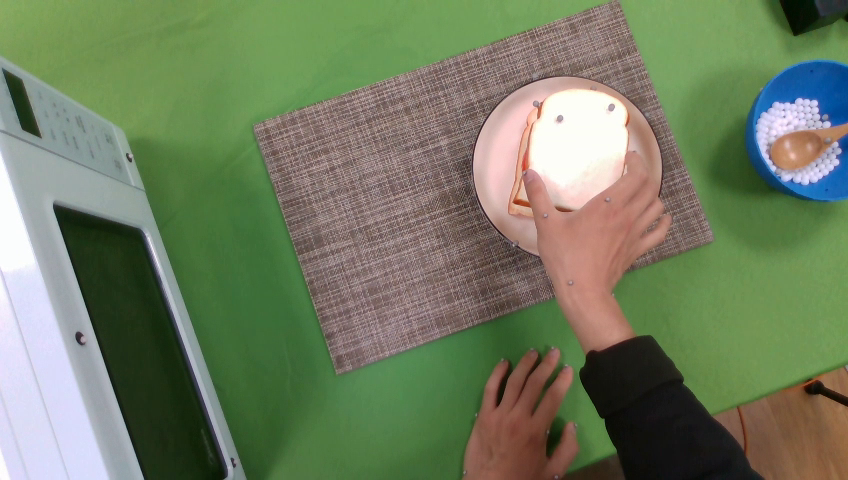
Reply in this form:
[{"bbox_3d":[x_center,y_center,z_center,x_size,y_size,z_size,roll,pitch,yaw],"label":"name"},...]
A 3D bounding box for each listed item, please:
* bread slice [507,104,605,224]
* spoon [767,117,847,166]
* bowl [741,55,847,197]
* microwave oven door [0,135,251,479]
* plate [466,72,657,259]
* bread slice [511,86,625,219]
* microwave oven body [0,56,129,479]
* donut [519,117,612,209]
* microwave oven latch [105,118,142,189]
[{"bbox_3d":[0.150,-0.088,0.674,0.107,0.018,0.134,5,85,0],"label":"bread slice"},{"bbox_3d":[0.458,-0.129,0.631,0.193,0.022,0.041,-25,79,19],"label":"spoon"},{"bbox_3d":[0.410,-0.114,0.661,0.151,0.077,0.151,0,84,0],"label":"bowl"},{"bbox_3d":[-0.259,0.102,0.539,0.039,0.244,0.355,-22,85,-2],"label":"microwave oven door"},{"bbox_3d":[0.149,-0.080,0.673,0.208,0.039,0.207,0,85,0],"label":"plate"},{"bbox_3d":[0.151,-0.094,0.617,0.105,0.019,0.131,10,82,7],"label":"bread slice"},{"bbox_3d":[-0.411,0.117,0.543,0.326,0.260,0.440,-21,86,-3],"label":"microwave oven body"},{"bbox_3d":[0.150,-0.081,0.645,0.099,0.048,0.099,0,85,1],"label":"donut"},{"bbox_3d":[-0.337,-0.091,0.659,0.030,0.029,0.079,-22,86,-3],"label":"microwave oven latch"}]
